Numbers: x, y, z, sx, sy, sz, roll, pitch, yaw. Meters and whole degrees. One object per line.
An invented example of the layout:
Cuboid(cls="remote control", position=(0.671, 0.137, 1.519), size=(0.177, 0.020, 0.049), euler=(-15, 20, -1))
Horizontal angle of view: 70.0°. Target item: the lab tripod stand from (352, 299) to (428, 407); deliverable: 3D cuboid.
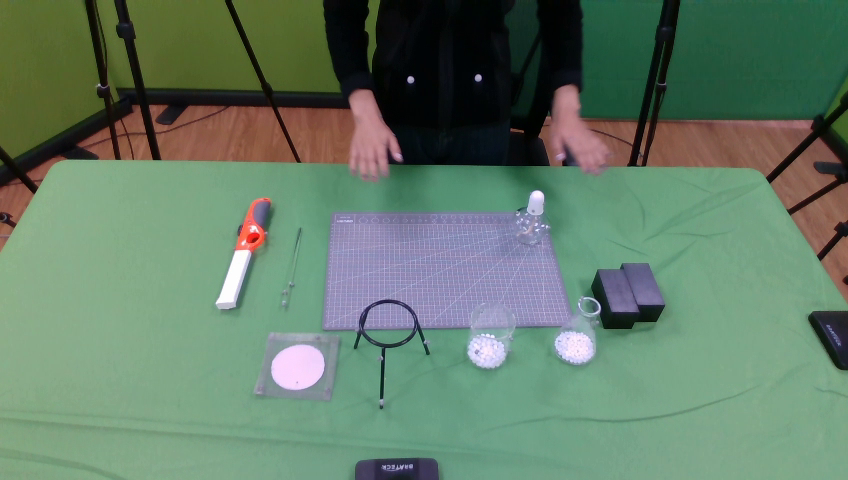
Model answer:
Cuboid(cls="lab tripod stand", position=(-0.056, 0.166, 0.958), size=(0.148, 0.132, 0.147), euler=(3, 44, -2))

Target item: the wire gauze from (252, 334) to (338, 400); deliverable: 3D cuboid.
Cuboid(cls="wire gauze", position=(-0.209, 0.204, 0.996), size=(0.125, 0.011, 0.120), euler=(3, 45, 1))

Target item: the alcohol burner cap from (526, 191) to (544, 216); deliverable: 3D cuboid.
Cuboid(cls="alcohol burner cap", position=(0.216, -0.073, 1.170), size=(0.034, 0.048, 0.033), euler=(0, 42, 1))

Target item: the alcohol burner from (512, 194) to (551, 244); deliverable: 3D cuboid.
Cuboid(cls="alcohol burner", position=(0.215, -0.048, 1.196), size=(0.078, 0.119, 0.077), euler=(4, 46, -4))

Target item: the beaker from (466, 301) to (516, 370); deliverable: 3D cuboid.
Cuboid(cls="beaker", position=(0.106, 0.162, 0.998), size=(0.084, 0.101, 0.073), euler=(-31, 55, -29))

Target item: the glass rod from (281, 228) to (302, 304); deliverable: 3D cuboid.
Cuboid(cls="glass rod", position=(-0.250, 0.045, 1.146), size=(0.008, 0.008, 0.198), euler=(2, 43, -1))

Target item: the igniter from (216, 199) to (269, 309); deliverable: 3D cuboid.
Cuboid(cls="igniter", position=(-0.342, 0.016, 1.153), size=(0.057, 0.025, 0.275), euler=(-3, 45, 7))

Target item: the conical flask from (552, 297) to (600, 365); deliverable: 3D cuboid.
Cuboid(cls="conical flask", position=(0.261, 0.147, 1.010), size=(0.075, 0.122, 0.075), euler=(2, 46, -2))
